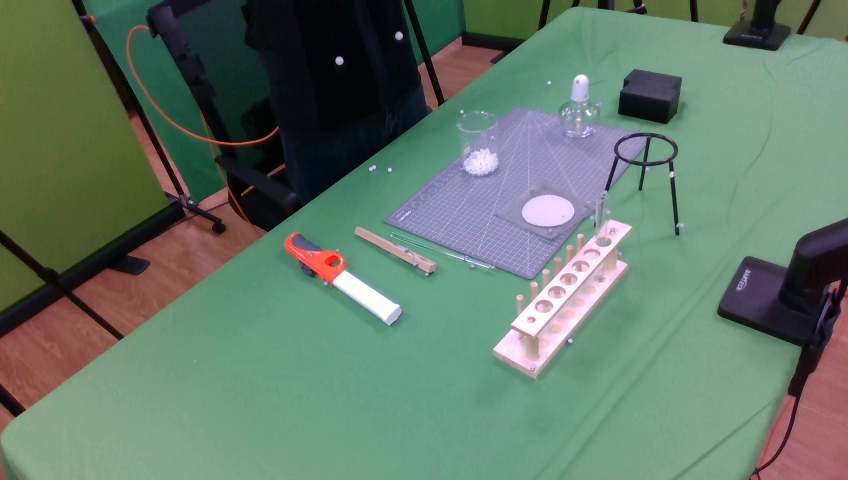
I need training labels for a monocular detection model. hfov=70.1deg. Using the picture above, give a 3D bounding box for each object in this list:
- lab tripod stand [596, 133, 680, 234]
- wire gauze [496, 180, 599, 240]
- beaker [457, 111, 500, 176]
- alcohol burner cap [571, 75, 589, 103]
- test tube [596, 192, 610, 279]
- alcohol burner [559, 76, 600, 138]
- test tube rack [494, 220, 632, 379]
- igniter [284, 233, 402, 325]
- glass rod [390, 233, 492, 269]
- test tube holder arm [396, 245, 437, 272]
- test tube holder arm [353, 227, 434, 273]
[{"bbox_3d":[0.338,-0.091,0.940,0.148,0.132,0.147,-7,39,6],"label":"lab tripod stand"},{"bbox_3d":[0.206,-0.050,1.012,0.125,0.011,0.120,-34,45,-26],"label":"wire gauze"},{"bbox_3d":[0.104,-0.176,1.108,0.073,0.101,0.084,16,46,27],"label":"beaker"},{"bbox_3d":[0.294,-0.284,1.132,0.034,0.048,0.033,-5,46,5],"label":"alcohol burner cap"},{"bbox_3d":[0.240,-0.002,0.814,0.017,0.151,0.017,-7,42,7],"label":"test tube"},{"bbox_3d":[0.298,-0.258,1.156,0.078,0.119,0.077,-4,39,4],"label":"alcohol burner"},{"bbox_3d":[0.191,0.068,0.818,0.066,0.085,0.243,25,51,35],"label":"test tube rack"},{"bbox_3d":[-0.136,0.054,0.942,0.274,0.025,0.057,29,63,37],"label":"igniter"},{"bbox_3d":[0.023,0.017,0.971,0.198,0.008,0.008,18,48,32],"label":"glass rod"},{"bbox_3d":[-0.016,0.029,0.957,0.087,0.015,0.010,25,16,35],"label":"test tube holder arm"},{"bbox_3d":[-0.053,0.014,0.978,0.177,0.015,0.013,25,16,34],"label":"test tube holder arm"}]
